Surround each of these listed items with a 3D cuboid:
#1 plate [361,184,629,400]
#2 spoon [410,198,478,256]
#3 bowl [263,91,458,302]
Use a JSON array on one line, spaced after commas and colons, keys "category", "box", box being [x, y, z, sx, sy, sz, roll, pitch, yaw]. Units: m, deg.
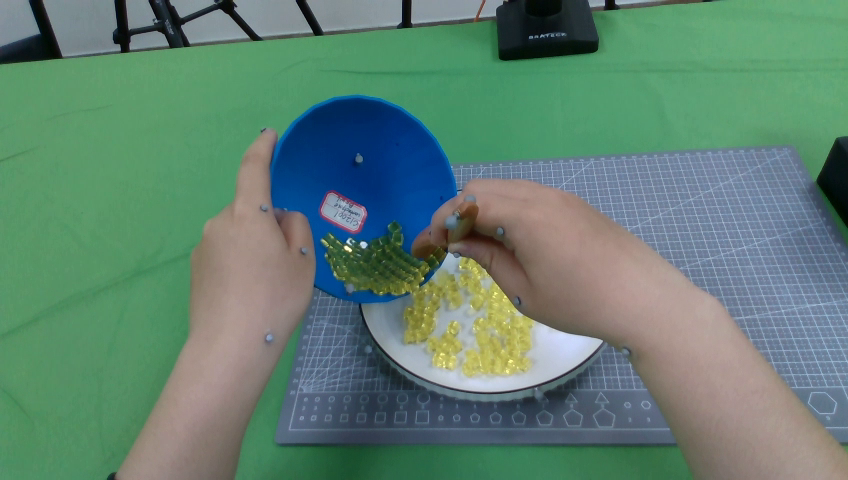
[{"category": "plate", "box": [0.054, 0.038, 0.487, 0.207, 0.039, 0.205, -4, 48, 5]}, {"category": "spoon", "box": [0.015, -0.006, 0.366, 0.041, 0.193, 0.021, -27, 90, -6]}, {"category": "bowl", "box": [-0.057, -0.028, 0.461, 0.151, 0.152, 0.076, -43, 18, -27]}]
